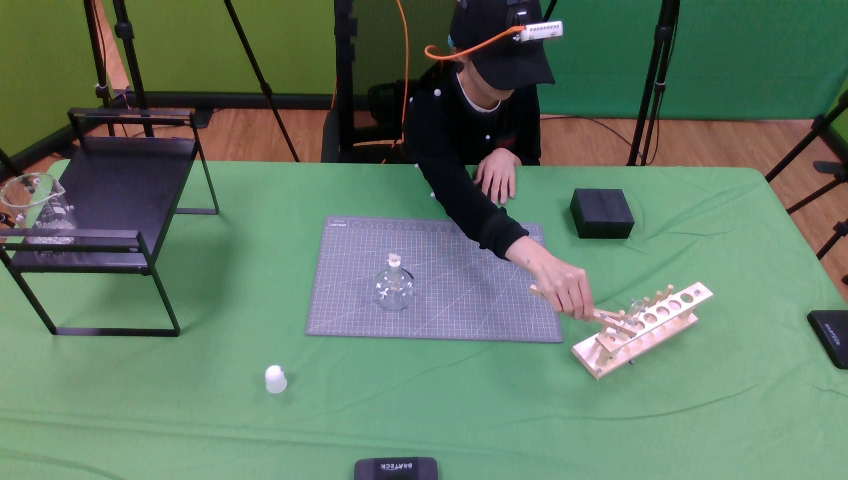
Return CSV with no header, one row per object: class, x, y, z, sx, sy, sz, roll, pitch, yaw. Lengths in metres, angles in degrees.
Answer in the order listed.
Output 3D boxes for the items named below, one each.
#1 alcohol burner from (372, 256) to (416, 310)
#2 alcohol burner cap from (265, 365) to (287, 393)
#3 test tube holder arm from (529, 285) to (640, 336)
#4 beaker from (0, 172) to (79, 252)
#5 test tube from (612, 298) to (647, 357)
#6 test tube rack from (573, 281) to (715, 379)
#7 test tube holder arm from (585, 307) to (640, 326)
alcohol burner,-0.052,0.068,1.057,0.078,0.120,0.077,1,48,-1
alcohol burner cap,-0.236,0.216,0.956,0.034,0.048,0.033,3,45,-3
test tube holder arm,0.253,0.111,0.960,0.178,0.015,0.013,21,46,11
beaker,-0.557,-0.038,0.889,0.084,0.101,0.073,-3,47,-8
test tube,0.323,0.143,0.962,0.017,0.151,0.017,2,48,-2
test tube rack,0.378,0.140,1.038,0.242,0.085,0.066,-22,51,-23
test tube holder arm,0.296,0.120,0.958,0.088,0.015,0.010,11,46,2
